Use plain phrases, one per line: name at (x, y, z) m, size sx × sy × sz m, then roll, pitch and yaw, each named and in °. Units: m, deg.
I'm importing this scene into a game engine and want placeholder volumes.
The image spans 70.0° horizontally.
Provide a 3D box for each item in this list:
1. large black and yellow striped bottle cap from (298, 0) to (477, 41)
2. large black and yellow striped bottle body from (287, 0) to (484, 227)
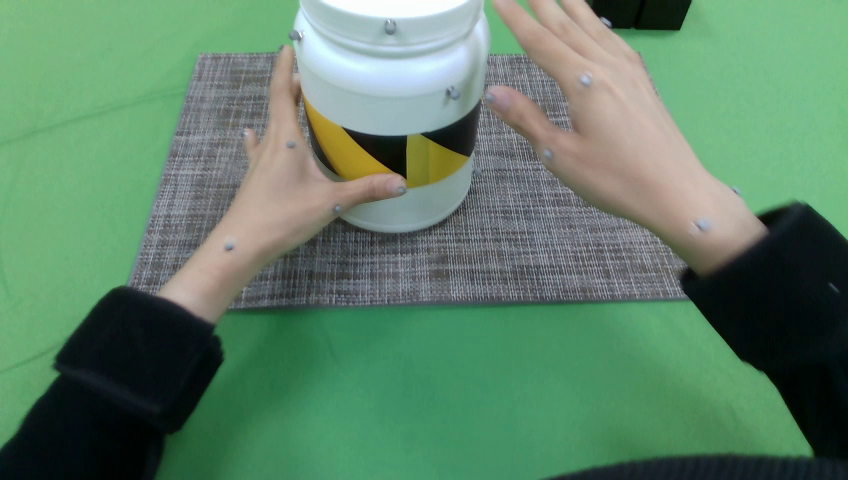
large black and yellow striped bottle cap at (-0.022, -0.164, 0.370) m, size 0.115 × 0.019 × 0.114 m, roll 1°, pitch 54°, yaw -1°
large black and yellow striped bottle body at (-0.027, -0.113, 0.437) m, size 0.131 × 0.185 × 0.129 m, roll 2°, pitch 53°, yaw -2°
